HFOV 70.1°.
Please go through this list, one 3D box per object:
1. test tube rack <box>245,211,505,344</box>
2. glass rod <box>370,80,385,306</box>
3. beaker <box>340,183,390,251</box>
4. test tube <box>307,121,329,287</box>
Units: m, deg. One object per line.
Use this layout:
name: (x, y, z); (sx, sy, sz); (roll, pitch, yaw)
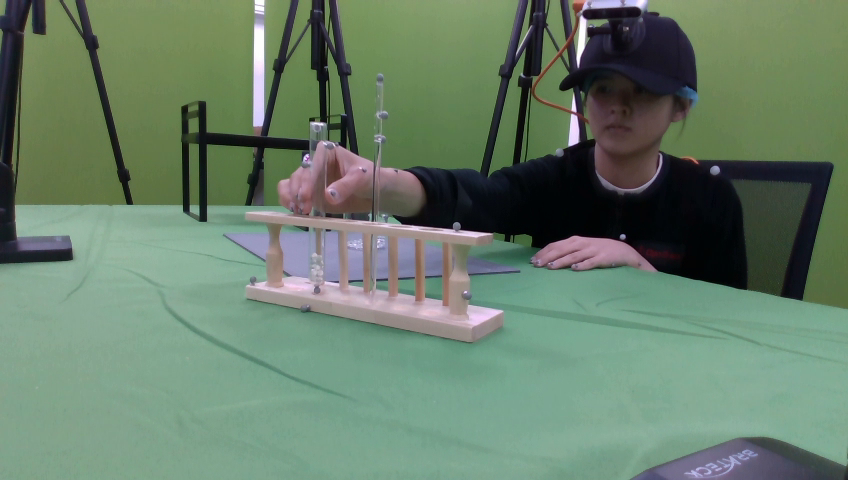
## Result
test tube rack: (-0.049, 0.025, 0.547); (0.241, 0.085, 0.067); (7, 8, 29)
glass rod: (-0.040, -0.039, 0.530); (0.008, 0.199, 0.008); (2, 2, 0)
beaker: (-0.090, -0.036, 0.943); (0.083, 0.100, 0.074); (10, 10, 41)
test tube: (-0.096, -0.031, 0.545); (0.017, 0.150, 0.017); (3, 8, 0)
